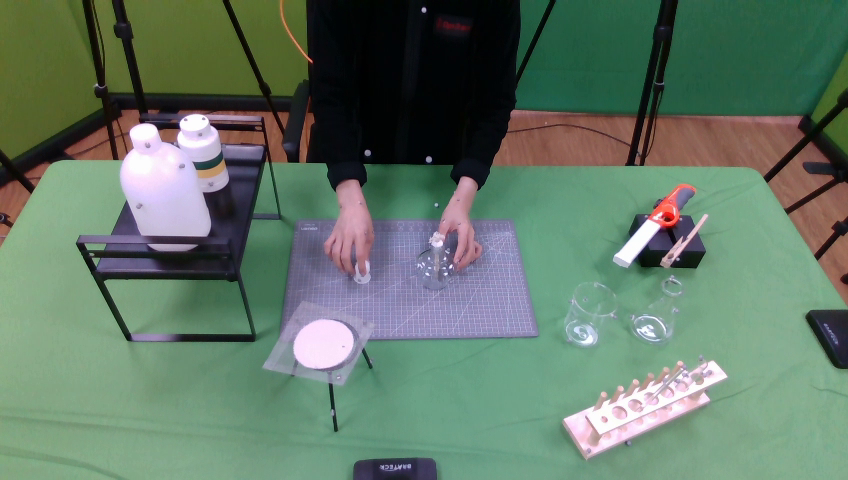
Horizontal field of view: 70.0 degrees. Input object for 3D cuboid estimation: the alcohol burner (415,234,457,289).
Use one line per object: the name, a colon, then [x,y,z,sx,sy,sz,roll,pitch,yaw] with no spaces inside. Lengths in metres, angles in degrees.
alcohol burner: [0.022,0.033,1.100,0.078,0.120,0.077,1,47,0]

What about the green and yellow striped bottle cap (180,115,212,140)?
green and yellow striped bottle cap: [-0.358,-0.177,0.951,0.045,0.020,0.045,1,45,-1]

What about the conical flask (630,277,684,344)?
conical flask: [0.408,0.117,1.045,0.075,0.122,0.075,2,46,-2]

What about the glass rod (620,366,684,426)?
glass rod: [0.322,0.227,0.866,0.008,0.200,0.008,5,51,-7]

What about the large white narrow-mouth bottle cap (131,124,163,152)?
large white narrow-mouth bottle cap: [-0.371,-0.138,0.812,0.038,0.024,0.037,3,46,-3]

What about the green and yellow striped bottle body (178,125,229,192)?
green and yellow striped bottle body: [-0.361,-0.142,0.989,0.063,0.120,0.063,2,46,-2]

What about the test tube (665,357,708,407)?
test tube: [0.387,0.216,0.905,0.017,0.151,0.017,1,53,-1]

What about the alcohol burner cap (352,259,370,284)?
alcohol burner cap: [-0.116,0.056,1.116,0.034,0.048,0.033,4,50,-4]

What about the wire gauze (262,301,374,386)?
wire gauze: [-0.150,0.148,0.873,0.121,0.011,0.124,14,46,12]

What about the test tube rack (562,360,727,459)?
test tube rack: [0.341,0.247,0.940,0.243,0.085,0.066,-16,49,-19]

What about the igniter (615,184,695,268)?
igniter: [0.459,-0.035,1.197,0.057,0.025,0.276,32,55,27]

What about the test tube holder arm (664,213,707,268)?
test tube holder arm: [0.507,-0.001,1.171,0.013,0.015,0.178,33,54,26]

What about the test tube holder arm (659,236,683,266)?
test tube holder arm: [0.472,0.020,1.149,0.010,0.015,0.088,35,54,27]

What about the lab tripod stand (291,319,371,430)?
lab tripod stand: [-0.146,0.193,0.923,0.148,0.132,0.147,1,47,-1]

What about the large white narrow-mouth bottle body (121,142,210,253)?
large white narrow-mouth bottle body: [-0.378,-0.078,0.875,0.102,0.195,0.101,3,46,-3]

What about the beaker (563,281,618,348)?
beaker: [0.283,0.129,1.041,0.074,0.101,0.083,11,46,6]
